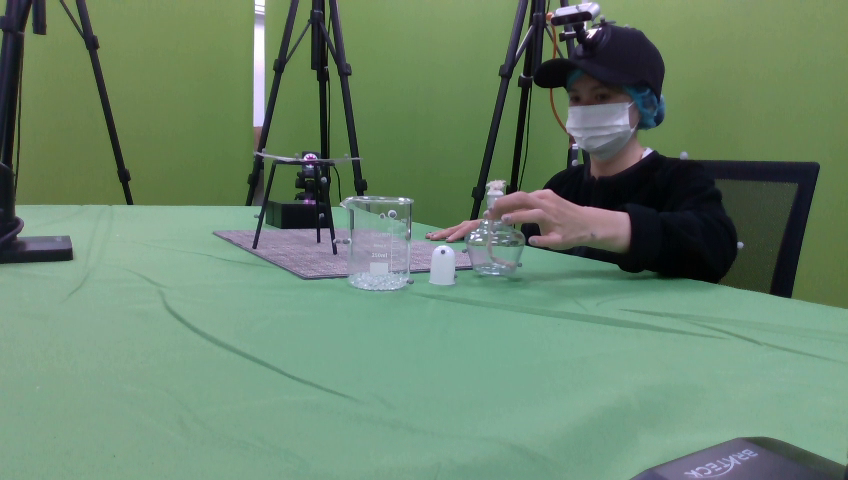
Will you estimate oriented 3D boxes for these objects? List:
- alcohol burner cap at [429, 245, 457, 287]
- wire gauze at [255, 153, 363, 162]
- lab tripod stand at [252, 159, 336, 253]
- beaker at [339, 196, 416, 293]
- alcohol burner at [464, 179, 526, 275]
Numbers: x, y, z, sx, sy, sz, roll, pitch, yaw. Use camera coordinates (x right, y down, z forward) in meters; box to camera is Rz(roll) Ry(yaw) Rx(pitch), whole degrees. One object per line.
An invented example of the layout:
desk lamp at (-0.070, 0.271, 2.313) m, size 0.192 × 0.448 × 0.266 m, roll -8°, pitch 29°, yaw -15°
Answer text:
alcohol burner cap at (0.024, 0.030, 0.705) m, size 0.034 × 0.048 × 0.034 m, roll 2°, pitch 7°, yaw 0°
wire gauze at (-0.172, -0.119, 0.891) m, size 0.122 × 0.011 × 0.124 m, roll -2°, pitch 7°, yaw -38°
lab tripod stand at (-0.180, -0.053, 0.900) m, size 0.148 × 0.131 × 0.148 m, roll 1°, pitch 6°, yaw 0°
beaker at (-0.052, 0.004, 0.661) m, size 0.084 × 0.100 × 0.073 m, roll -1°, pitch 7°, yaw -18°
alcohol burner at (0.089, -0.017, 0.757) m, size 0.078 × 0.119 × 0.078 m, roll 1°, pitch 5°, yaw 0°
